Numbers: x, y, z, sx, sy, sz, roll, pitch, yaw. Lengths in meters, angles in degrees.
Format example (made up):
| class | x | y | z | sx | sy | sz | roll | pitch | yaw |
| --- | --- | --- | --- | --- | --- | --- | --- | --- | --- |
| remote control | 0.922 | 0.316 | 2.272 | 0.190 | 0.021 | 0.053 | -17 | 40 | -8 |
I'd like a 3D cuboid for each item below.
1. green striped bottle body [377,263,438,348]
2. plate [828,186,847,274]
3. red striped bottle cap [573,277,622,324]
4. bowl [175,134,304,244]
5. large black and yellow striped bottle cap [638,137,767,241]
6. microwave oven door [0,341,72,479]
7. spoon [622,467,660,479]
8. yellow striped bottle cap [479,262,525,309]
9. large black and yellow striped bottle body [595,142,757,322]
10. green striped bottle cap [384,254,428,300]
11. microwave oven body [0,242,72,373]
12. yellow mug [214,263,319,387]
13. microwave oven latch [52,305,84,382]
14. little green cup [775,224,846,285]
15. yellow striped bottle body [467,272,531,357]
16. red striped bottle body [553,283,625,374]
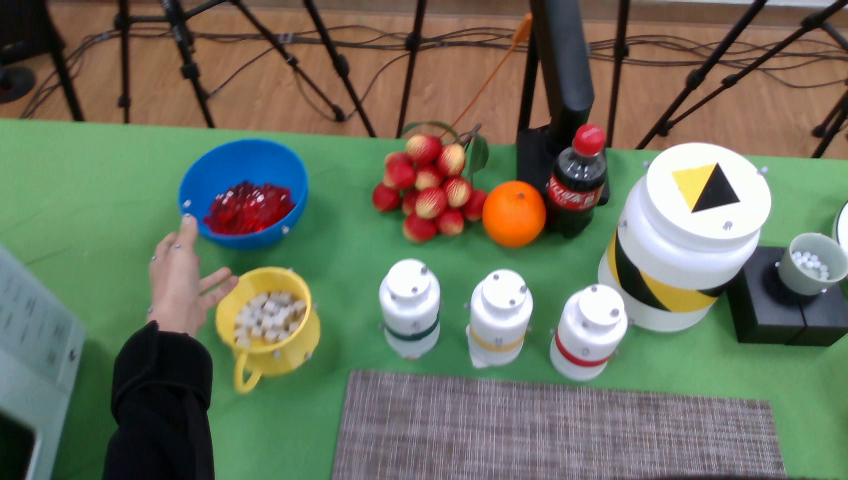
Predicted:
| class | x | y | z | sx | sy | sz | roll | pitch | yaw |
| --- | --- | --- | --- | --- | --- | --- | --- | --- | --- |
| green striped bottle body | -0.016 | 0.064 | 0.645 | 0.063 | 0.120 | 0.062 | 0 | 57 | 1 |
| plate | 0.585 | 0.010 | 0.718 | 0.209 | 0.038 | 0.207 | 0 | 58 | 1 |
| red striped bottle cap | 0.167 | 0.058 | 0.584 | 0.044 | 0.018 | 0.044 | 2 | 56 | -2 |
| bowl | -0.217 | -0.049 | 0.746 | 0.151 | 0.077 | 0.150 | 0 | 58 | 0 |
| large black and yellow striped bottle cap | 0.264 | -0.051 | 0.576 | 0.115 | 0.019 | 0.114 | -1 | 56 | 1 |
| microwave oven door | -0.374 | 0.240 | 0.446 | 0.039 | 0.246 | 0.352 | -5 | 57 | -2 |
| spoon | 0.280 | 0.259 | 0.569 | 0.193 | 0.022 | 0.041 | 15 | 36 | 10 |
| yellow striped bottle cap | 0.076 | 0.044 | 0.595 | 0.044 | 0.019 | 0.044 | 0 | 59 | 0 |
| large black and yellow striped bottle body | 0.267 | -0.007 | 0.648 | 0.131 | 0.185 | 0.129 | -1 | 57 | 1 |
| green striped bottle cap | -0.018 | 0.036 | 0.601 | 0.044 | 0.020 | 0.044 | 0 | 56 | 0 |
| microwave oven body | -0.522 | 0.219 | 0.467 | 0.326 | 0.262 | 0.437 | -5 | 58 | -2 |
| yellow mug | -0.175 | 0.097 | 0.660 | 0.100 | 0.064 | 0.130 | 11 | 59 | 8 |
| microwave oven latch | -0.388 | 0.111 | 0.648 | 0.030 | 0.030 | 0.078 | -3 | 58 | -1 |
| little green cup | 0.416 | 0.018 | 0.656 | 0.061 | 0.039 | 0.061 | 0 | 56 | 0 |
| yellow striped bottle body | 0.078 | 0.073 | 0.638 | 0.063 | 0.121 | 0.062 | -1 | 57 | 2 |
| red striped bottle body | 0.170 | 0.087 | 0.628 | 0.063 | 0.121 | 0.062 | -3 | 55 | 4 |
